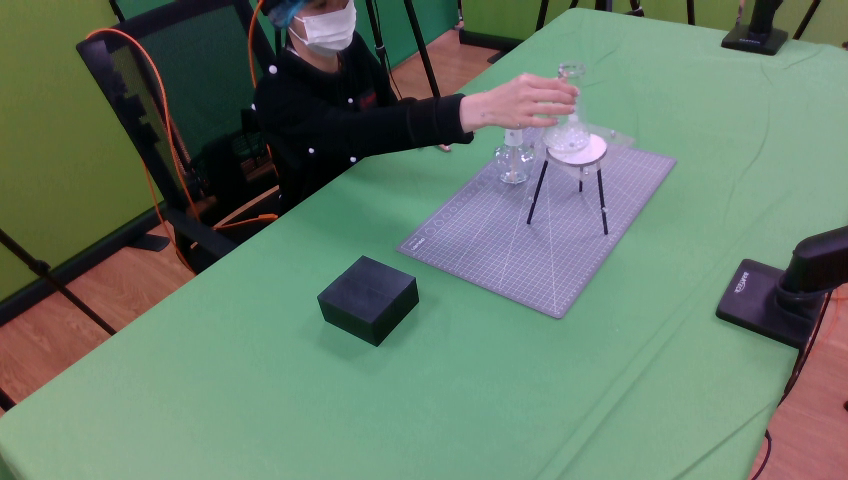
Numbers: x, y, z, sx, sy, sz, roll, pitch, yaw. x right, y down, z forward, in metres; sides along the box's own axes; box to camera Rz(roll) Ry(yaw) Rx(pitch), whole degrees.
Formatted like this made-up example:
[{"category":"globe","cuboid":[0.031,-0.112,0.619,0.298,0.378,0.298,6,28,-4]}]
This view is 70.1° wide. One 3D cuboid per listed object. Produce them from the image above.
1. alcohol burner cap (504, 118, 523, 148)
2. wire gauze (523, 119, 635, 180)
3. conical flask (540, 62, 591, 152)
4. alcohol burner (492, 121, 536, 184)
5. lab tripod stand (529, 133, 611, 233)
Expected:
[{"category":"alcohol burner cap","cuboid":[0.154,-0.186,1.042,0.034,0.048,0.033,-4,33,3]},{"category":"wire gauze","cuboid":[0.233,-0.143,0.913,0.122,0.011,0.124,-32,45,-25]},{"category":"conical flask","cuboid":[0.210,-0.196,0.883,0.075,0.122,0.075,-3,40,3]},{"category":"alcohol burner","cuboid":[0.159,-0.158,1.064,0.078,0.119,0.077,-3,41,3]},{"category":"lab tripod stand","cuboid":[0.236,-0.089,0.953,0.148,0.132,0.147,-5,42,5]}]
